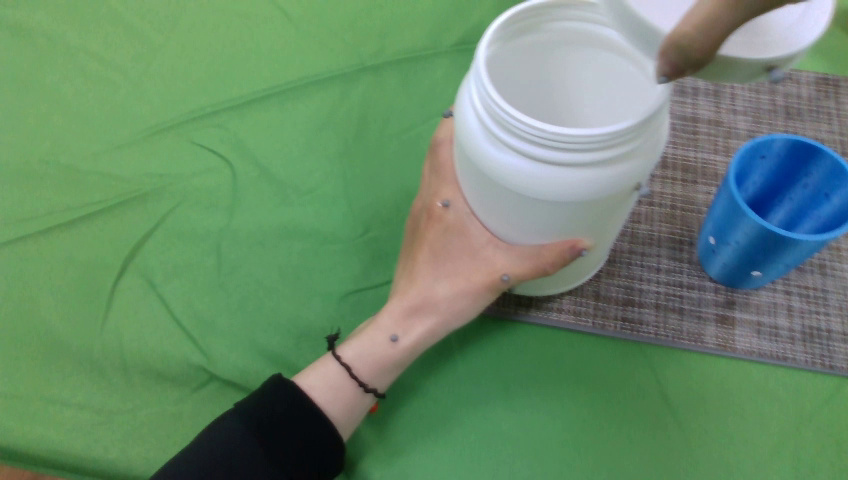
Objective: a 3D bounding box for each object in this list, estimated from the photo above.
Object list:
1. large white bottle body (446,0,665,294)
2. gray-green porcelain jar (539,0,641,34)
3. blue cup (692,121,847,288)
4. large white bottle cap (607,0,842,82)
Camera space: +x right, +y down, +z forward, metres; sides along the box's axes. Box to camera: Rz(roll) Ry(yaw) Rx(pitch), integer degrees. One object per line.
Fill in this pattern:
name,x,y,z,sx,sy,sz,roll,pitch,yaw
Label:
large white bottle body,0.081,-0.056,0.412,0.130,0.186,0.129,0,60,1
gray-green porcelain jar,0.164,-0.270,0.569,0.106,0.127,0.105,0,61,1
blue cup,0.240,-0.014,0.435,0.092,0.101,0.092,-1,59,2
large white bottle cap,0.142,-0.128,0.292,0.115,0.018,0.114,2,68,-5
